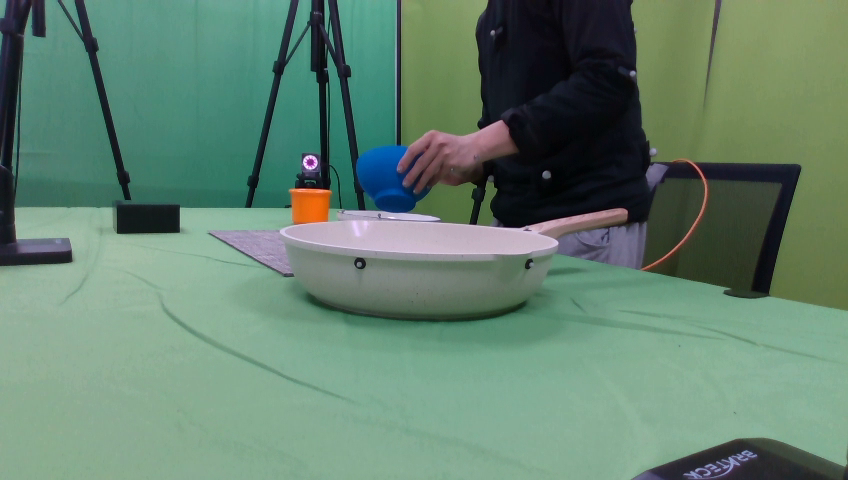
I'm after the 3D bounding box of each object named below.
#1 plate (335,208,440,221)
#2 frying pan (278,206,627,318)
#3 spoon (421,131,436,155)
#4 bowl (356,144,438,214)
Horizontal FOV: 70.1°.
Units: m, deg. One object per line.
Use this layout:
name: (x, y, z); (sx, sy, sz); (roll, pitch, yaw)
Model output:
plate: (-0.073, -0.035, 1.196); (0.208, 0.039, 0.207); (4, 6, 0)
frying pan: (0.079, 0.002, 0.705); (0.490, 0.102, 0.305); (-12, 15, -33)
spoon: (-0.005, -0.154, 1.156); (0.042, 0.021, 0.193); (27, 42, -8)
bowl: (-0.055, -0.098, 1.086); (0.151, 0.076, 0.151); (8, -24, 4)
